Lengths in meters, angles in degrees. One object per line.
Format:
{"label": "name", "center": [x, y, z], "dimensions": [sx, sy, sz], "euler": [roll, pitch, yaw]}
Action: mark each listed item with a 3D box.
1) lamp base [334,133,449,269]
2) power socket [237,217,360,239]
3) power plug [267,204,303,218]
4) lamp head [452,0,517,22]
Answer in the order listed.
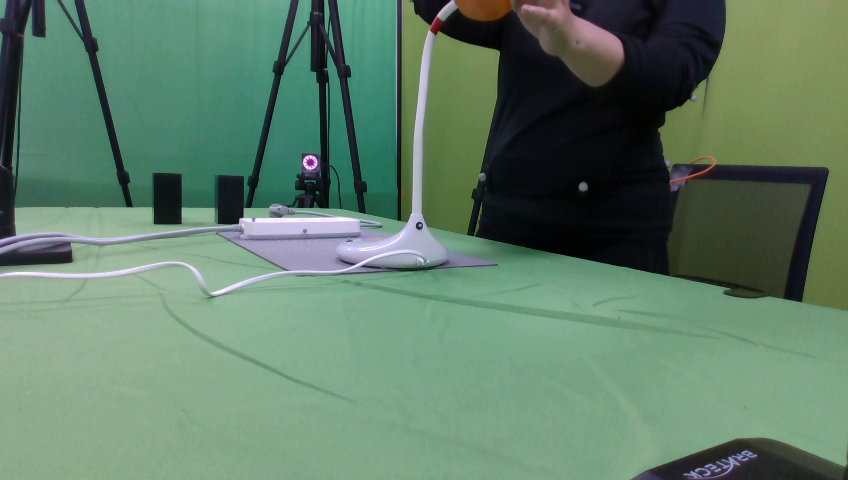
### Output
{"label": "lamp base", "center": [-0.034, -0.057, 0.831], "dimensions": [0.161, 0.180, 0.178], "euler": [-3, 12, -36]}
{"label": "power socket", "center": [-0.220, -0.023, 1.080], "dimensions": [0.228, 0.032, 0.072], "euler": [-2, 8, -33]}
{"label": "power plug", "center": [-0.327, -0.059, 1.404], "dimensions": [0.073, 0.035, 0.052], "euler": [22, -14, -26]}
{"label": "lamp head", "center": [0.070, -0.318, 0.700], "dimensions": [0.112, 0.122, 0.112], "euler": [7, -1, 1]}
